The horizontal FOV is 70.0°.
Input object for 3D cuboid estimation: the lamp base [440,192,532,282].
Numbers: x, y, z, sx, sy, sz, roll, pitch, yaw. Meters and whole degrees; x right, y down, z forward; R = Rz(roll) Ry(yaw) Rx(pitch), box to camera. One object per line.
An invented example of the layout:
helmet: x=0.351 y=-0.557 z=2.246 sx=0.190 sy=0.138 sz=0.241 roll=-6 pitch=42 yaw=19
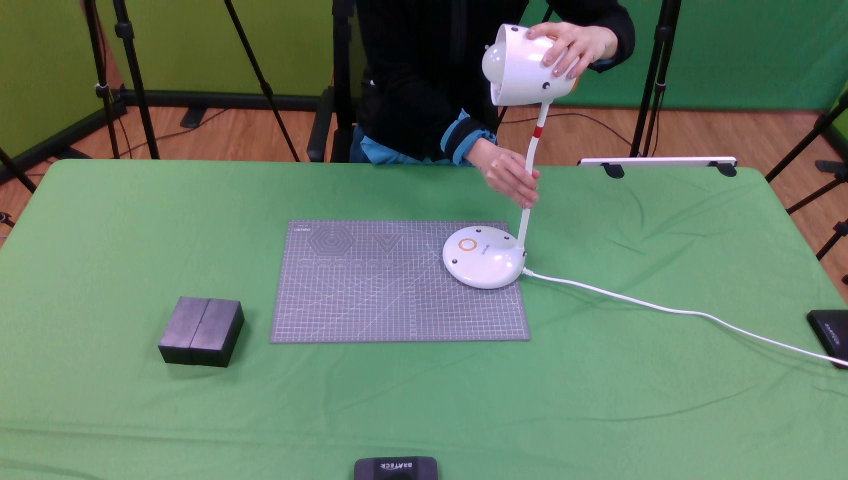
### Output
lamp base: x=0.127 y=-0.032 z=1.123 sx=0.179 sy=0.181 sz=0.159 roll=11 pitch=47 yaw=2

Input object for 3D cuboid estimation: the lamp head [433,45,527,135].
lamp head: x=0.093 y=-0.230 z=0.907 sx=0.123 sy=0.113 sz=0.112 roll=-21 pitch=39 yaw=27

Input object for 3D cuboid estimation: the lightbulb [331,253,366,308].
lightbulb: x=-0.131 y=0.074 z=1.094 sx=0.059 sy=0.060 sz=0.107 roll=-15 pitch=65 yaw=-18
